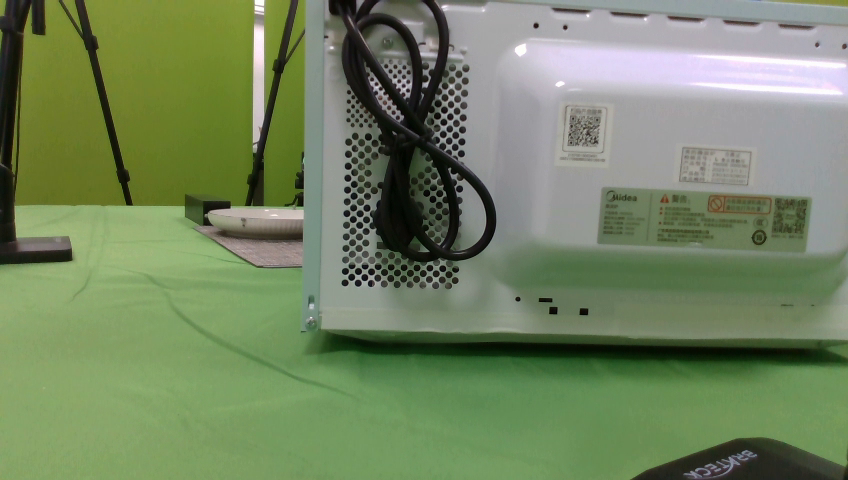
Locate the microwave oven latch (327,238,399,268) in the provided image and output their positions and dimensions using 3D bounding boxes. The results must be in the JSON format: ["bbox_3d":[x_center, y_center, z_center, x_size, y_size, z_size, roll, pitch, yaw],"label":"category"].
[{"bbox_3d":[-0.069,0.015,0.694,0.079,0.029,0.030,3,7,-3],"label":"microwave oven latch"}]

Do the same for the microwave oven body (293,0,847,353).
[{"bbox_3d":[0.122,-0.055,0.550,0.442,0.260,0.325,3,7,-5],"label":"microwave oven body"}]

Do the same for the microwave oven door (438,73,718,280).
[{"bbox_3d":[0.182,-0.090,0.799,0.354,0.243,0.039,7,8,32],"label":"microwave oven door"}]

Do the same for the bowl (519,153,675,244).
[{"bbox_3d":[0.174,-0.037,0.605,0.151,0.077,0.151,-5,1,0],"label":"bowl"}]

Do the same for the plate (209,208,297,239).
[{"bbox_3d":[-0.271,-0.029,1.073,0.208,0.039,0.207,3,7,0],"label":"plate"}]
